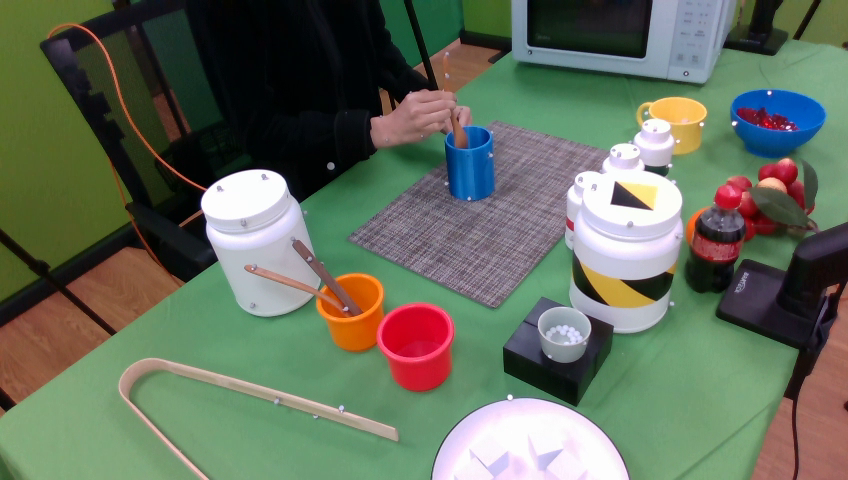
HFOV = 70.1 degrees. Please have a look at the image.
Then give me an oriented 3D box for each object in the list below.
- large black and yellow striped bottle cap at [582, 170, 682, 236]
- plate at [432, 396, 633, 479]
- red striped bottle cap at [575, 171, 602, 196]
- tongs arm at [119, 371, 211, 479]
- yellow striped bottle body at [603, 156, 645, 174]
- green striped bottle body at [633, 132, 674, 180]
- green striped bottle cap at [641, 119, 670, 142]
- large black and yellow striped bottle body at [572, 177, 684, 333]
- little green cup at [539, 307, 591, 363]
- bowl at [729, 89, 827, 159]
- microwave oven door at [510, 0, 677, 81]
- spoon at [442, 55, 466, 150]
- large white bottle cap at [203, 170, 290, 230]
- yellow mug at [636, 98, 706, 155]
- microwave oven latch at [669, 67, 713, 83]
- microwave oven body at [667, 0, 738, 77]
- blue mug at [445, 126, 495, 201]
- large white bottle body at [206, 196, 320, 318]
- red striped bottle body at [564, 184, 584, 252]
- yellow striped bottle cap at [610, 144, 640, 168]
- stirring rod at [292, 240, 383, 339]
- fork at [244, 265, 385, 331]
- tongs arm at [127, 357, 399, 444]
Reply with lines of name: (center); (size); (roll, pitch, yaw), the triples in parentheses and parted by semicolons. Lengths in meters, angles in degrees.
large black and yellow striped bottle cap: (0.252, -0.048, 0.735); (0.115, 0.019, 0.114); (-3, 40, 3)
plate: (0.112, 0.261, 0.634); (0.209, 0.038, 0.208); (-5, 40, 4)
red striped bottle cap: (0.242, -0.081, 0.876); (0.044, 0.018, 0.044); (-5, 43, 5)
tongs arm: (-0.257, 0.256, 0.700); (0.384, 0.028, 0.028); (24, 55, 33)
yellow striped bottle body: (0.313, -0.089, 0.956); (0.063, 0.121, 0.062); (-4, 40, 4)
green striped bottle body: (0.376, -0.135, 1.001); (0.063, 0.120, 0.063); (-5, 40, 5)
green striped bottle cap: (0.371, -0.175, 0.968); (0.044, 0.020, 0.044); (-4, 42, 4)
large black and yellow striped bottle body: (0.262, 0.017, 0.788); (0.131, 0.185, 0.130); (-5, 40, 4)
little green cup: (0.167, 0.114, 0.721); (0.061, 0.039, 0.061); (-4, 43, 4)
bowl: (0.615, -0.197, 1.069); (0.151, 0.077, 0.150); (-5, 40, 5)
microwave oven door: (0.354, -0.478, 1.290); (0.353, 0.245, 0.039); (15, 45, 25)
spoon: (0.045, -0.210, 0.980); (0.021, 0.195, 0.041); (16, 52, 31)
large white bottle cap: (-0.241, -0.057, 0.822); (0.115, 0.018, 0.114); (-4, 40, 4)
yellow mug: (0.453, -0.217, 1.128); (0.100, 0.064, 0.129); (-34, 46, -27)
microwave oven latch: (0.556, -0.348, 1.261); (0.078, 0.029, 0.030); (16, 46, 27)
microwave oven body: (0.462, -0.552, 1.369); (0.439, 0.261, 0.326); (15, 45, 26)
blue mug: (0.076, -0.142, 1.063); (0.082, 0.106, 0.115); (-16, 41, -9)
large white bottle body: (-0.233, 0.008, 0.877); (0.130, 0.185, 0.130); (-4, 40, 4)
red striped bottle body: (0.247, -0.041, 0.910); (0.063, 0.120, 0.062); (-3, 39, 3)
yellow striped bottle cap: (0.307, -0.128, 0.923); (0.044, 0.019, 0.044); (-5, 39, 5)
stirring rod: (-0.118, 0.068, 0.826); (0.176, 0.006, 0.014); (49, 59, -4)
fork: (-0.142, 0.078, 0.806); (0.209, 0.018, 0.028); (30, 32, -23)
tongs arm: (-0.213, 0.205, 0.755); (0.382, 0.026, 0.051); (12, 46, 23)
